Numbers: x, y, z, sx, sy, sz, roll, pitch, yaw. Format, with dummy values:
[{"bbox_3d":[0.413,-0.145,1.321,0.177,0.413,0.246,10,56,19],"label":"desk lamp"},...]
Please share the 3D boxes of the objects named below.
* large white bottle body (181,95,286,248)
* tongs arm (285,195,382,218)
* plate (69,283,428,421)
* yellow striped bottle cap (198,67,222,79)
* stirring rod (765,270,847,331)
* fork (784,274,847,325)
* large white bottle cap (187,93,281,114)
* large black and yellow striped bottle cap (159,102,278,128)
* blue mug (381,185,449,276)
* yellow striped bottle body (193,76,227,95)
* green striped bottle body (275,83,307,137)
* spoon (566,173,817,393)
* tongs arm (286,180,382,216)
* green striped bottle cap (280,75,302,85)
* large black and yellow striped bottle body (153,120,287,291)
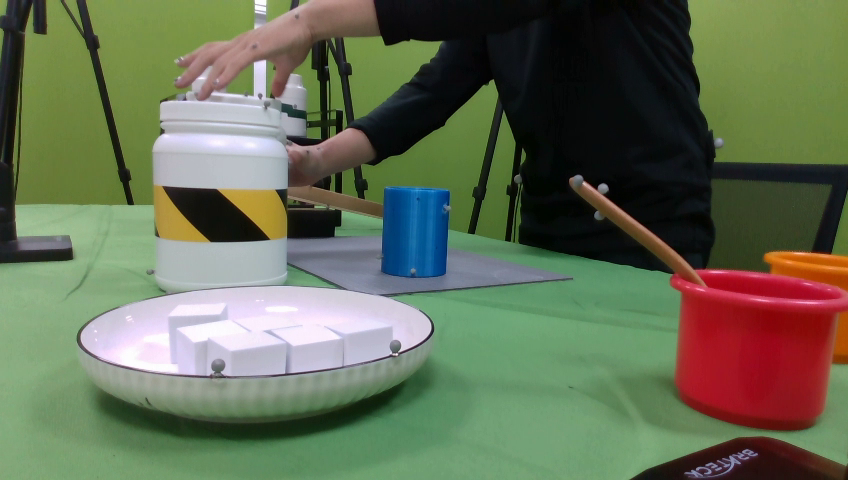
[{"bbox_3d":[-0.251,-0.094,0.799,0.131,0.184,0.130,5,14,-1],"label":"large white bottle body"},{"bbox_3d":[-0.165,-0.074,1.216,0.389,0.027,0.028,11,-6,-24],"label":"tongs arm"},{"bbox_3d":[-0.102,0.066,0.381,0.208,0.039,0.207,2,7,0],"label":"plate"},{"bbox_3d":[-0.412,-0.320,1.163,0.044,0.018,0.044,0,6,0],"label":"yellow striped bottle cap"},{"bbox_3d":[0.352,0.020,0.484,0.176,0.006,0.014,-40,-7,12],"label":"stirring rod"},{"bbox_3d":[0.332,0.018,0.443,0.028,0.018,0.207,-1,-36,-15],"label":"fork"},{"bbox_3d":[-0.243,-0.175,0.777,0.115,0.018,0.114,5,14,-1],"label":"large white bottle cap"},{"bbox_3d":[-0.207,-0.125,0.615,0.115,0.019,0.115,2,6,0],"label":"large black and yellow striped bottle cap"},{"bbox_3d":[-0.018,-0.016,0.764,0.083,0.106,0.116,-2,8,-24],"label":"blue mug"},{"bbox_3d":[-0.414,-0.268,1.169,0.063,0.120,0.063,2,7,0],"label":"yellow striped bottle body"},{"bbox_3d":[-0.269,-0.269,1.221,0.063,0.119,0.063,2,7,0],"label":"green striped bottle body"},{"bbox_3d":[0.161,0.024,0.370,0.193,0.021,0.042,47,18,3],"label":"spoon"},{"bbox_3d":[-0.122,-0.066,1.147,0.387,0.026,0.050,11,-2,-37],"label":"tongs arm"},{"bbox_3d":[-0.267,-0.320,1.216,0.044,0.020,0.044,3,9,0],"label":"green striped bottle cap"},{"bbox_3d":[-0.208,-0.042,0.626,0.131,0.184,0.130,2,7,0],"label":"large black and yellow striped bottle body"}]
